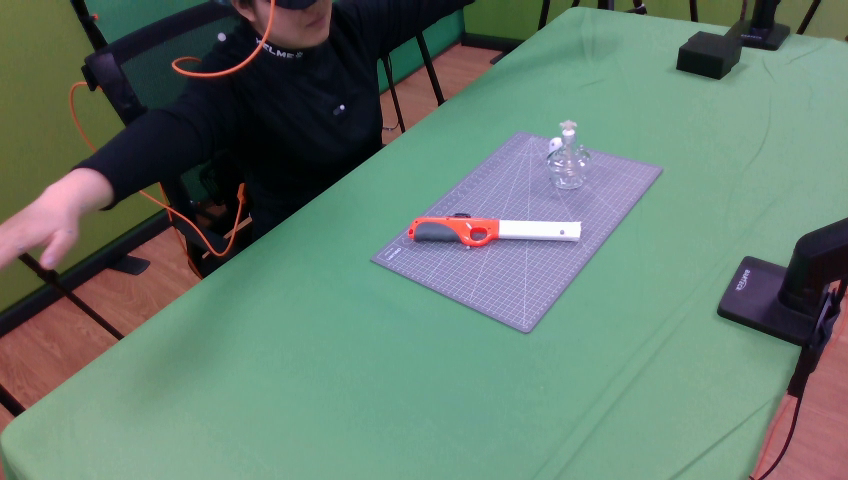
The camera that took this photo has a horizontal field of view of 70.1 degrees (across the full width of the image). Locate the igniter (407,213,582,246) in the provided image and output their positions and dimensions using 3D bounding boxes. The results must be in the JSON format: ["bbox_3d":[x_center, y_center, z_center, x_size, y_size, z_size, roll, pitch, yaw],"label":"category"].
[{"bbox_3d":[0.110,-0.016,0.969,0.276,0.025,0.057,1,63,9],"label":"igniter"}]

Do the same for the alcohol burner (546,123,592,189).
[{"bbox_3d":[0.248,-0.147,1.034,0.078,0.120,0.077,-7,41,6],"label":"alcohol burner"}]

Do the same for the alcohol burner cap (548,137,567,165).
[{"bbox_3d":[0.246,-0.166,1.113,0.034,0.048,0.033,-6,40,5],"label":"alcohol burner cap"}]
